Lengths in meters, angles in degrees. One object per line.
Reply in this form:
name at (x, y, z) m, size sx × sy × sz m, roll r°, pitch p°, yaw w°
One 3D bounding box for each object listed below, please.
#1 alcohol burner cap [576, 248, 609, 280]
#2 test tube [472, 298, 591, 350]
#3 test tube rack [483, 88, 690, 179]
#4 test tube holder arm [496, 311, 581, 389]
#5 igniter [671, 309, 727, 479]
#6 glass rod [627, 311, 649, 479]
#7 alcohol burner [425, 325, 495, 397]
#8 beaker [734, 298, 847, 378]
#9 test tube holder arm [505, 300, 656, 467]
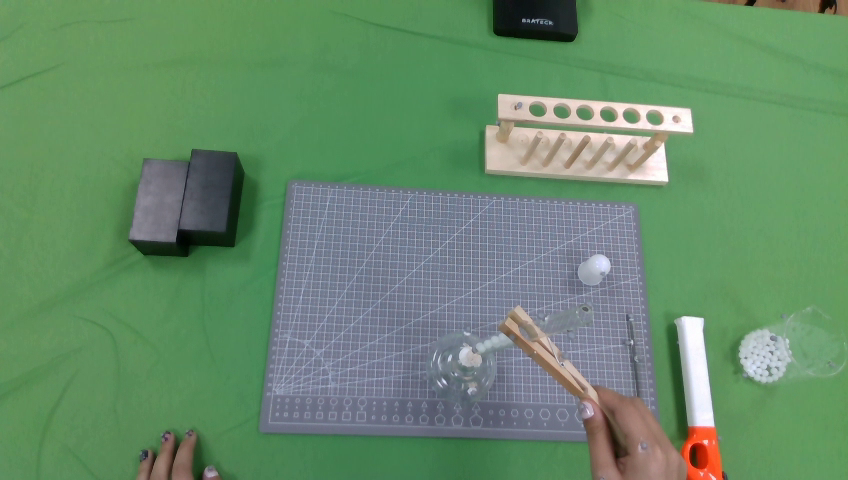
alcohol burner cap at (0.208, 0.026, 0.735) m, size 0.034 × 0.048 × 0.033 m, roll 2°, pitch 71°, yaw -6°
test tube at (0.083, 0.072, 0.503) m, size 0.017 × 0.150 × 0.017 m, roll 10°, pitch 67°, yaw -26°
test tube rack at (0.202, -0.132, 0.769) m, size 0.243 × 0.085 × 0.066 m, roll 3°, pitch 71°, yaw -5°
test tube holder arm at (0.096, 0.092, 0.502) m, size 0.088 × 0.015 × 0.010 m, roll 41°, pitch 59°, yaw -5°
igniter at (0.314, 0.216, 0.694) m, size 0.057 × 0.025 × 0.274 m, roll 7°, pitch 71°, yaw -15°
glass rod at (0.248, 0.180, 0.705) m, size 0.008 × 0.008 × 0.198 m, roll 3°, pitch 71°, yaw -6°
alcohol burner at (0.040, 0.125, 0.644) m, size 0.078 × 0.120 × 0.077 m, roll 2°, pitch 68°, yaw -5°
beaker at (0.417, 0.117, 0.701) m, size 0.074 × 0.101 × 0.083 m, roll 16°, pitch 69°, yaw 0°
test tube holder arm at (0.131, 0.121, 0.507) m, size 0.178 × 0.015 × 0.013 m, roll 48°, pitch 59°, yaw -1°
